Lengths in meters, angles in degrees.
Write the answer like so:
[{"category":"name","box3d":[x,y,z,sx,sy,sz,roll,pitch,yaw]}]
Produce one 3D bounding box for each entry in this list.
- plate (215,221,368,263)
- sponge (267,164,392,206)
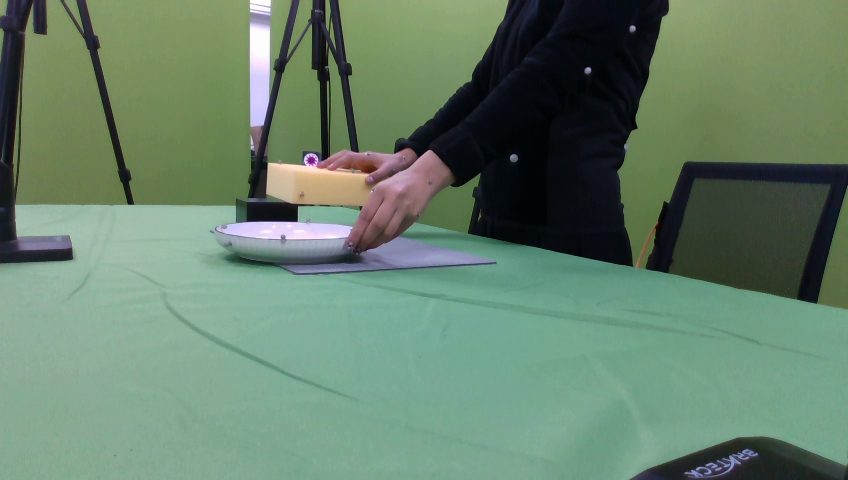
[{"category":"plate","box3d":[-0.182,0.002,0.846,0.209,0.038,0.209,2,7,0]},{"category":"sponge","box3d":[-0.178,-0.104,1.145,0.208,0.061,0.117,-2,12,-38]}]
